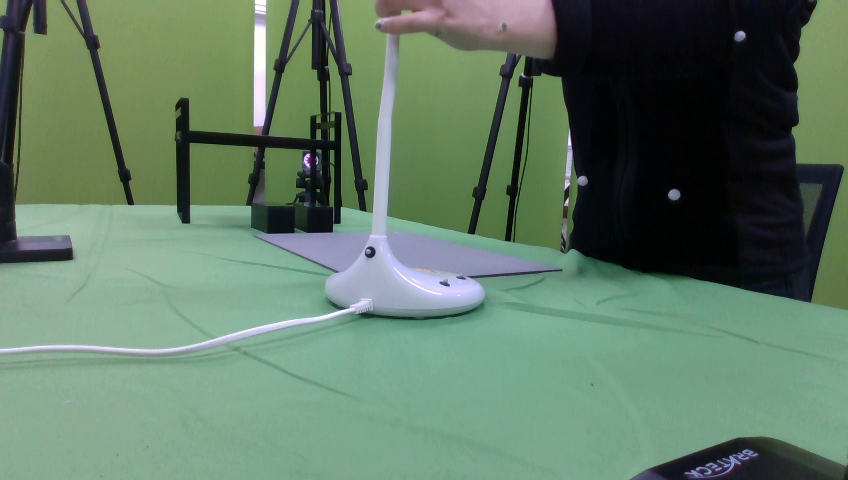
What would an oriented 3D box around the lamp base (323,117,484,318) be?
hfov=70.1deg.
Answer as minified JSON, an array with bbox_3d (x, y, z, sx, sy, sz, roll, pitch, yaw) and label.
[{"bbox_3d":[-0.020,-0.025,0.583,0.160,0.180,0.179,5,10,16],"label":"lamp base"}]
